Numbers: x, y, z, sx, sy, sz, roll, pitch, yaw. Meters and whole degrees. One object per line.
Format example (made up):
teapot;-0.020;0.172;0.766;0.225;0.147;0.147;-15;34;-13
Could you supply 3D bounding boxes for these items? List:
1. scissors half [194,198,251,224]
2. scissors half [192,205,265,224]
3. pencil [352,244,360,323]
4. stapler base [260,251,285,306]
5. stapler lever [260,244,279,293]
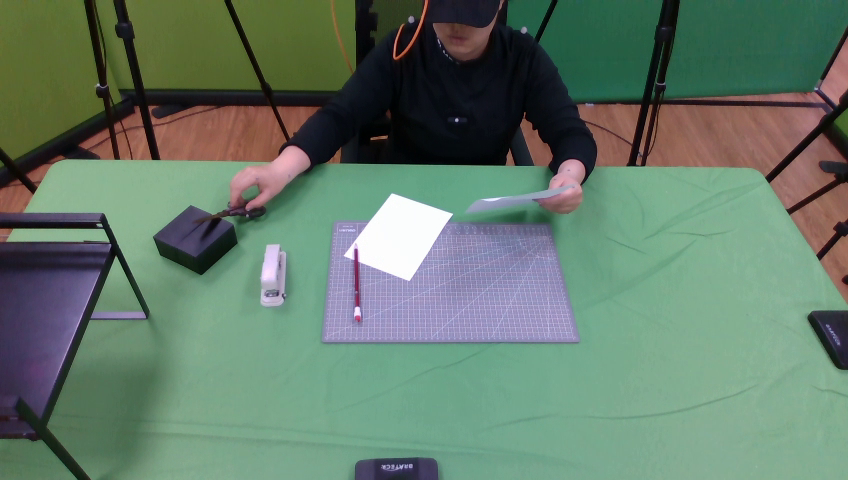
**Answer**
scissors half;-0.392;-0.055;1.176;0.040;0.013;0.175;20;22;7
scissors half;-0.374;-0.046;1.171;0.040;0.013;0.175;34;26;24
pencil;-0.127;0.075;1.120;0.012;0.012;0.192;-2;44;-7
stapler base;-0.279;0.064;1.113;0.041;0.024;0.129;-1;44;-9
stapler lever;-0.279;0.045;1.096;0.027;0.040;0.117;-2;44;-9
